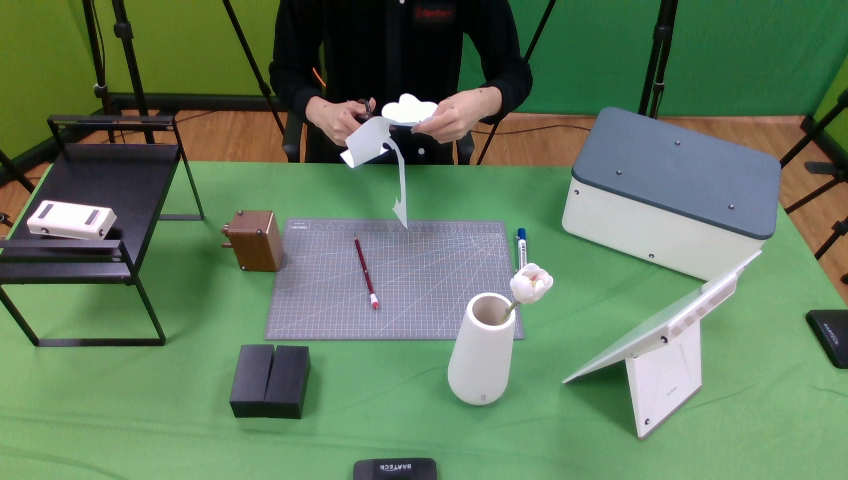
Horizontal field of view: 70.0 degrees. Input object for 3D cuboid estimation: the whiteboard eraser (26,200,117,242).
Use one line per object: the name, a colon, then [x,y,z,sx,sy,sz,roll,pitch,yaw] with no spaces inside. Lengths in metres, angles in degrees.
whiteboard eraser: [-0.532,-0.026,0.919,0.113,0.042,0.055,7,45,3]

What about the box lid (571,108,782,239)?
box lid: [0.491,-0.139,1.168,0.370,0.015,0.262,20,49,15]

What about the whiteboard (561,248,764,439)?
whiteboard: [0.386,0.176,0.905,0.217,0.306,0.143,-26,72,-27]

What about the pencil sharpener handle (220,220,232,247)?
pencil sharpener handle: [-0.362,-0.009,1.105,0.030,0.068,0.036,1,52,1]

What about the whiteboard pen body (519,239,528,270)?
whiteboard pen body: [0.193,0.035,1.181,0.017,0.017,0.140,6,48,1]

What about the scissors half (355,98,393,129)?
scissors half: [-0.088,-0.216,1.053,0.013,0.040,0.174,-11,29,-23]

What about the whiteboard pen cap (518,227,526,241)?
whiteboard pen cap: [0.197,-0.009,1.220,0.018,0.018,0.033,5,51,1]

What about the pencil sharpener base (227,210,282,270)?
pencil sharpener base: [-0.311,0.001,1.112,0.077,0.107,0.061,1,47,1]

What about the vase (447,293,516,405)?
vase: [0.091,0.169,0.921,0.098,0.201,0.097,3,47,-3]

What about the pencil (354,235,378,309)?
pencil: [-0.113,0.055,1.143,0.012,0.012,0.192,-10,46,-13]

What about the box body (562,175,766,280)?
box body: [0.486,-0.088,1.222,0.363,0.161,0.253,20,48,15]

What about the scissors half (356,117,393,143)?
scissors half: [-0.087,-0.196,1.058,0.013,0.040,0.174,-6,4,-24]

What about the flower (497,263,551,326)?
flower: [0.102,0.121,0.852,0.044,0.363,0.038,-2,64,-10]
